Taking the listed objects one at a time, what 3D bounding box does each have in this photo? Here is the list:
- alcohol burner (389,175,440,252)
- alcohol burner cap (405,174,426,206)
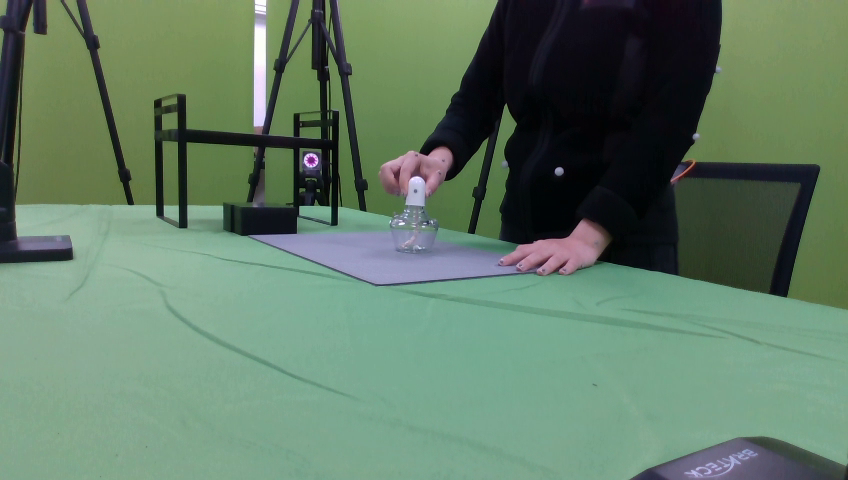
[{"bbox_3d":[-0.013,-0.041,0.930,0.078,0.119,0.078,4,8,0],"label":"alcohol burner"},{"bbox_3d":[-0.013,-0.076,0.925,0.034,0.048,0.034,3,3,0],"label":"alcohol burner cap"}]
